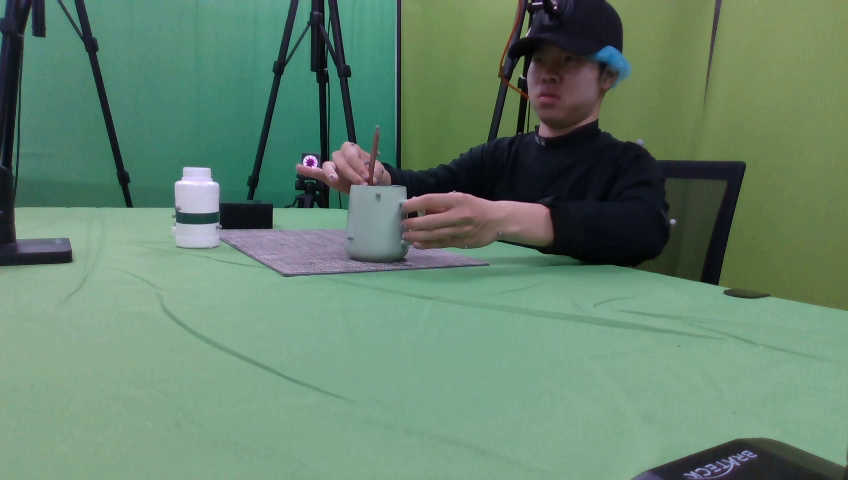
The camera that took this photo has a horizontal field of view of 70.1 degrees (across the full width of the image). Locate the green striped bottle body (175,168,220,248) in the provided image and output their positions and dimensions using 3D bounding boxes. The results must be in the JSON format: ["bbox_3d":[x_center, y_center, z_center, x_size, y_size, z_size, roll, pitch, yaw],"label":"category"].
[{"bbox_3d":[-0.345,-0.050,0.924,0.063,0.119,0.063,2,7,0],"label":"green striped bottle body"}]

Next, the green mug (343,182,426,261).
[{"bbox_3d":[-0.053,-0.026,0.847,0.125,0.105,0.093,6,8,29],"label":"green mug"}]

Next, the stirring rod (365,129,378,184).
[{"bbox_3d":[-0.081,-0.070,0.855,0.006,0.176,0.014,7,2,-30],"label":"stirring rod"}]

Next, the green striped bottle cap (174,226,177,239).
[{"bbox_3d":[-0.405,-0.015,1.036,0.044,0.020,0.044,-1,10,0],"label":"green striped bottle cap"}]
